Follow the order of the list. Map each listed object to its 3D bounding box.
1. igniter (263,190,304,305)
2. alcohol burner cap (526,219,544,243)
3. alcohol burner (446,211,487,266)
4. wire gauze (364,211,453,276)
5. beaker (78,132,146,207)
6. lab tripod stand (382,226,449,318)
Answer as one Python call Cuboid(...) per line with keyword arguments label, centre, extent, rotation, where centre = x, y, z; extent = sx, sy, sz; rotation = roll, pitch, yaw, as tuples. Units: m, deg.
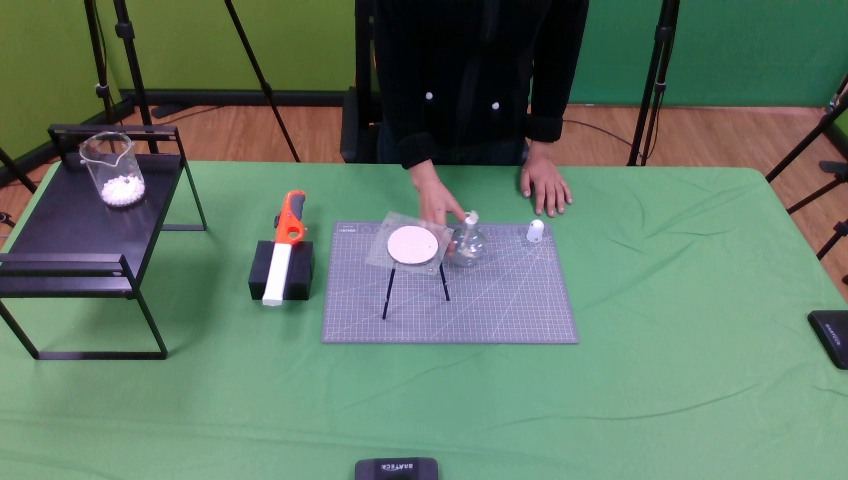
Cuboid(label="igniter", centre=(-0.255, 0.004, 1.107), extent=(0.057, 0.025, 0.274), rotation=(6, 47, -7))
Cuboid(label="alcohol burner cap", centre=(0.225, -0.021, 1.218), extent=(0.034, 0.048, 0.033), rotation=(1, 46, -1))
Cuboid(label="alcohol burner", centre=(0.082, -0.008, 1.145), extent=(0.078, 0.119, 0.077), rotation=(3, 45, -3))
Cuboid(label="wire gauze", centre=(-0.024, 0.006, 1.016), extent=(0.121, 0.011, 0.124), rotation=(14, 48, 9))
Cuboid(label="beaker", centre=(-0.488, -0.108, 0.961), extent=(0.074, 0.101, 0.083), rotation=(-25, 53, -25))
Cuboid(label="lab tripod stand", centre=(-0.024, 0.055, 1.063), extent=(0.148, 0.132, 0.147), rotation=(2, 48, -2))
